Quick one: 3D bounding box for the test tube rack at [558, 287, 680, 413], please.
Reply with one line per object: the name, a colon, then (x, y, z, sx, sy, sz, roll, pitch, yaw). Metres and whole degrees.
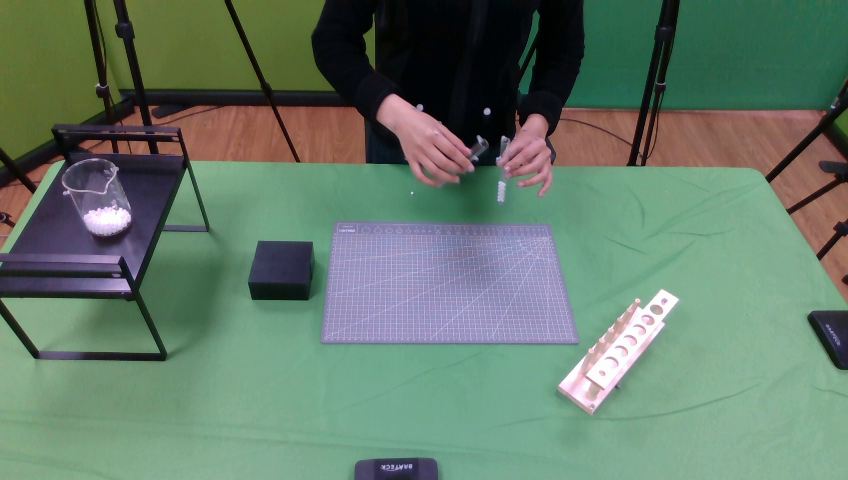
test tube rack: (0.326, 0.170, 1.009, 0.066, 0.085, 0.242, 36, 54, 26)

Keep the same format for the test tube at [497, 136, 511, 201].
test tube: (0.140, -0.122, 1.063, 0.017, 0.151, 0.017, -2, 50, 2)

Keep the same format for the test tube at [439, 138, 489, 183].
test tube: (0.064, -0.130, 1.008, 0.017, 0.150, 0.017, 9, 67, -24)

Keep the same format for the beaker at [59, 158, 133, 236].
beaker: (-0.488, -0.060, 0.915, 0.074, 0.101, 0.083, -35, 58, -31)
